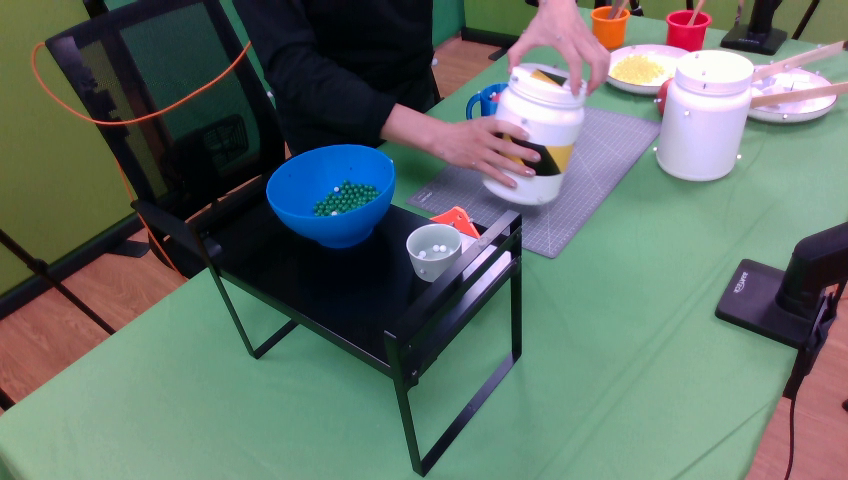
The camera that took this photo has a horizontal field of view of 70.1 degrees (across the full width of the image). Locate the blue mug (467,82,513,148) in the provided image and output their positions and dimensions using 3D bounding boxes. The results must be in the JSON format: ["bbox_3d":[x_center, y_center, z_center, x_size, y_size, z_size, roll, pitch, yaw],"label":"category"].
[{"bbox_3d":[0.138,-0.240,1.169,0.116,0.106,0.082,10,44,21],"label":"blue mug"}]

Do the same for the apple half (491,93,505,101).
[{"bbox_3d":[0.141,-0.239,1.158,0.033,0.081,0.080,-14,40,-17],"label":"apple half"}]

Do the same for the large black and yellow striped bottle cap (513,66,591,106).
[{"bbox_3d":[0.189,-0.229,0.893,0.115,0.019,0.114,8,33,-5],"label":"large black and yellow striped bottle cap"}]

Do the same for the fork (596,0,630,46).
[{"bbox_3d":[0.481,-0.556,1.452,0.028,0.019,0.207,40,103,41],"label":"fork"}]

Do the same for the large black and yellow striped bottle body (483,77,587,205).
[{"bbox_3d":[0.174,-0.161,0.940,0.131,0.184,0.130,8,33,-5],"label":"large black and yellow striped bottle body"}]

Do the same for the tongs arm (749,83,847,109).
[{"bbox_3d":[0.734,-0.280,1.134,0.388,0.028,0.028,-9,47,-5],"label":"tongs arm"}]

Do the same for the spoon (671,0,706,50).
[{"bbox_3d":[0.629,-0.520,1.394,0.041,0.022,0.193,30,97,34],"label":"spoon"}]

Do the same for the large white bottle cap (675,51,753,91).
[{"bbox_3d":[0.463,-0.271,0.967,0.115,0.018,0.114,-4,40,4],"label":"large white bottle cap"}]

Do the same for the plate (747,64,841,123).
[{"bbox_3d":[0.694,-0.283,1.189,0.207,0.039,0.206,-4,40,4],"label":"plate"}]

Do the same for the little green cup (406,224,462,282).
[{"bbox_3d":[0.012,0.015,0.668,0.061,0.039,0.061,-4,40,4],"label":"little green cup"}]

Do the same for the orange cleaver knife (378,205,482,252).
[{"bbox_3d":[0.006,-0.010,0.944,0.210,0.077,0.012,-4,23,47],"label":"orange cleaver knife"}]

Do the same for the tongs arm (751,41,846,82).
[{"bbox_3d":[0.708,-0.331,1.194,0.386,0.026,0.050,-18,45,-16],"label":"tongs arm"}]

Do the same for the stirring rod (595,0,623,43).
[{"bbox_3d":[0.460,-0.556,1.459,0.014,0.006,0.176,30,93,24],"label":"stirring rod"}]

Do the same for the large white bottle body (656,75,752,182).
[{"bbox_3d":[0.472,-0.207,1.022,0.130,0.185,0.130,-4,41,4],"label":"large white bottle body"}]

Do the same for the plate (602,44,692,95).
[{"bbox_3d":[0.495,-0.367,1.317,0.209,0.038,0.208,-4,40,4],"label":"plate"}]

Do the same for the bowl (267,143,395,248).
[{"bbox_3d":[-0.104,-0.043,0.726,0.151,0.077,0.150,-4,40,4],"label":"bowl"}]

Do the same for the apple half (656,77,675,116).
[{"bbox_3d":[0.488,-0.281,1.192,0.053,0.075,0.081,24,54,37],"label":"apple half"}]
